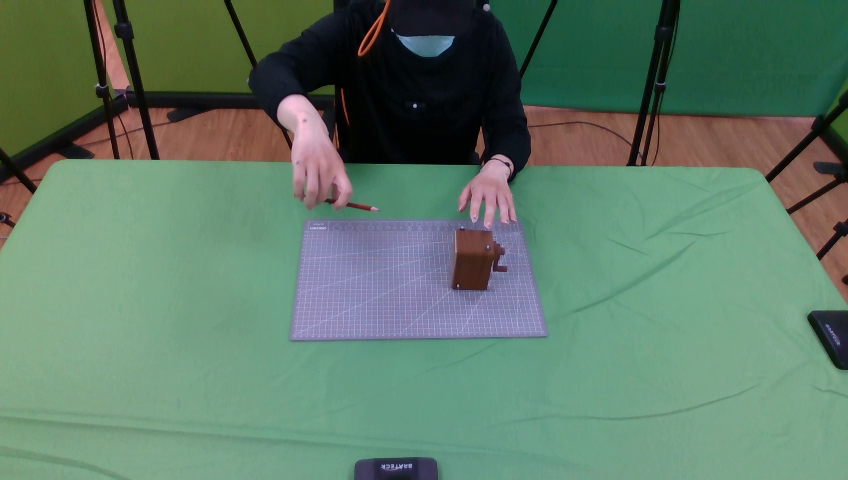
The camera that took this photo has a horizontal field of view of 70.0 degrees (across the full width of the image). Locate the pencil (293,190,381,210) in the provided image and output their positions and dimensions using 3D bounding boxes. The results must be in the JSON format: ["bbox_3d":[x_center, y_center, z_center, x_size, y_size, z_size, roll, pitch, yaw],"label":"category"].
[{"bbox_3d":[-0.146,-0.065,0.999,0.193,0.012,0.012,13,44,33],"label":"pencil"}]

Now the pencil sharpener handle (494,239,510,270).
[{"bbox_3d":[0.143,0.029,1.094,0.030,0.068,0.036,3,42,-1],"label":"pencil sharpener handle"}]

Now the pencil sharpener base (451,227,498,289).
[{"bbox_3d":[0.091,0.035,1.103,0.077,0.107,0.061,3,46,-1],"label":"pencil sharpener base"}]
